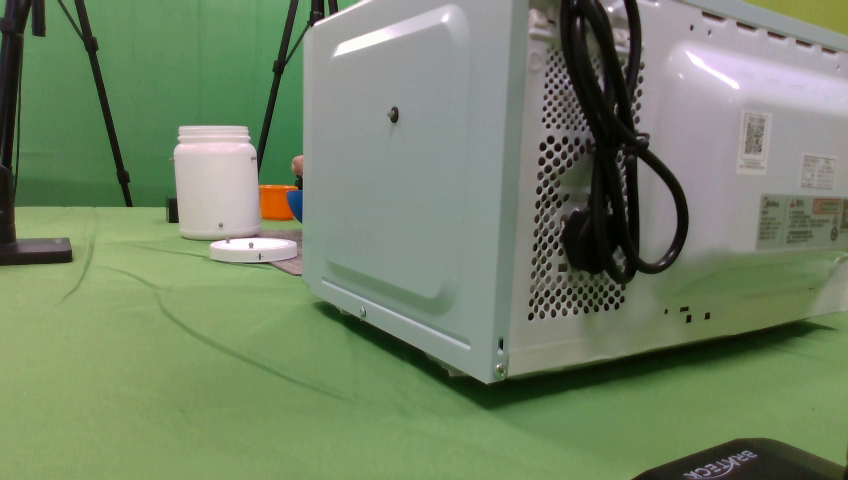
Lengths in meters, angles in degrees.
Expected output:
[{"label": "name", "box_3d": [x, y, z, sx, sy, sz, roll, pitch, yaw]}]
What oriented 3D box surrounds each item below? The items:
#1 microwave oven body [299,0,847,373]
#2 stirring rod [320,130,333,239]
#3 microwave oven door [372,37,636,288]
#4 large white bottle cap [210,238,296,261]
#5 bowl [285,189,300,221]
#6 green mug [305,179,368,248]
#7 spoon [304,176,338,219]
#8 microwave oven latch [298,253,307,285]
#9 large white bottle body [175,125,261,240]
[{"label": "microwave oven body", "box_3d": [0.152, -0.055, 0.542, 0.444, 0.260, 0.324, -2, 7, -33]}, {"label": "stirring rod", "box_3d": [-0.155, -0.087, 0.964, 0.006, 0.176, 0.014, -4, 16, -4]}, {"label": "microwave oven door", "box_3d": [0.109, -0.080, 0.686, 0.358, 0.243, 0.039, -2, 9, -33]}, {"label": "large white bottle cap", "box_3d": [-0.236, 0.012, 0.839, 0.115, 0.018, 0.115, 1, 7, 0]}, {"label": "bowl", "box_3d": [-0.180, -0.051, 1.113, 0.151, 0.077, 0.151, 2, 8, 0]}, {"label": "green mug", "box_3d": [-0.134, -0.044, 0.978, 0.092, 0.105, 0.126, 7, 9, 31]}, {"label": "spoon", "box_3d": [-0.201, -0.084, 1.146, 0.042, 0.021, 0.193, 3, 30, -25]}, {"label": "microwave oven latch", "box_3d": [-0.081, 0.027, 0.583, 0.079, 0.029, 0.030, -2, 8, -33]}, {"label": "large white bottle body", "box_3d": [-0.349, -0.100, 1.025, 0.131, 0.184, 0.130, -1, 9, 0]}]
